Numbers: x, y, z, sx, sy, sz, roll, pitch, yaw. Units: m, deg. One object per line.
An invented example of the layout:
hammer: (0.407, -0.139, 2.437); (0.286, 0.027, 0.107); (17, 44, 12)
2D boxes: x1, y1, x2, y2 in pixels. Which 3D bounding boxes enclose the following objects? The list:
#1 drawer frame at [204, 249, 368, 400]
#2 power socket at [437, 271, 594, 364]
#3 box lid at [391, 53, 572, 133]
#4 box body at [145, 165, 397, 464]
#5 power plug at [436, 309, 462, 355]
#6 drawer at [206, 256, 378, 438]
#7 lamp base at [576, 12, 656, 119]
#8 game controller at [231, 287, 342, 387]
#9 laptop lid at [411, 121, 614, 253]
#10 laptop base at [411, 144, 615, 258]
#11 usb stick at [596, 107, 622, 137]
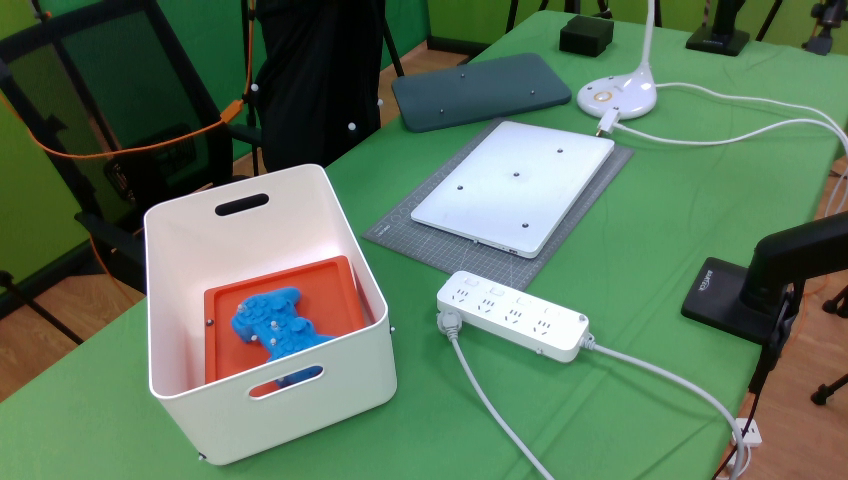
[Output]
drawer frame: (-0.174, 0.129, 0.791); (0.202, 0.083, 0.212); (-16, 45, -8)
power socket: (0.118, 0.102, 0.830); (0.225, 0.033, 0.072); (20, 48, 28)
box lid: (0.122, -0.339, 1.366); (0.372, 0.015, 0.261); (-12, 40, -5)
box body: (-0.205, 0.080, 0.802); (0.255, 0.161, 0.361); (-18, 41, -13)
power plug: (0.032, 0.126, 0.810); (0.035, 0.053, 0.072); (3, 59, 7)
drawer: (-0.177, 0.130, 0.787); (0.195, 0.073, 0.210); (-14, 39, -9)
lamp base: (0.404, -0.360, 1.218); (0.180, 0.181, 0.159); (-24, 43, -23)
game controller: (-0.167, 0.110, 0.734); (0.097, 0.052, 0.154); (-35, 47, -22)
laptop lid: (0.164, -0.112, 1.068); (0.240, 0.013, 0.357); (19, 46, 30)
laptop base: (0.167, -0.102, 1.074); (0.234, 0.023, 0.355); (16, 45, 30)
usb stick: (0.355, -0.223, 1.168); (0.027, 0.059, 0.022); (37, 14, 34)
